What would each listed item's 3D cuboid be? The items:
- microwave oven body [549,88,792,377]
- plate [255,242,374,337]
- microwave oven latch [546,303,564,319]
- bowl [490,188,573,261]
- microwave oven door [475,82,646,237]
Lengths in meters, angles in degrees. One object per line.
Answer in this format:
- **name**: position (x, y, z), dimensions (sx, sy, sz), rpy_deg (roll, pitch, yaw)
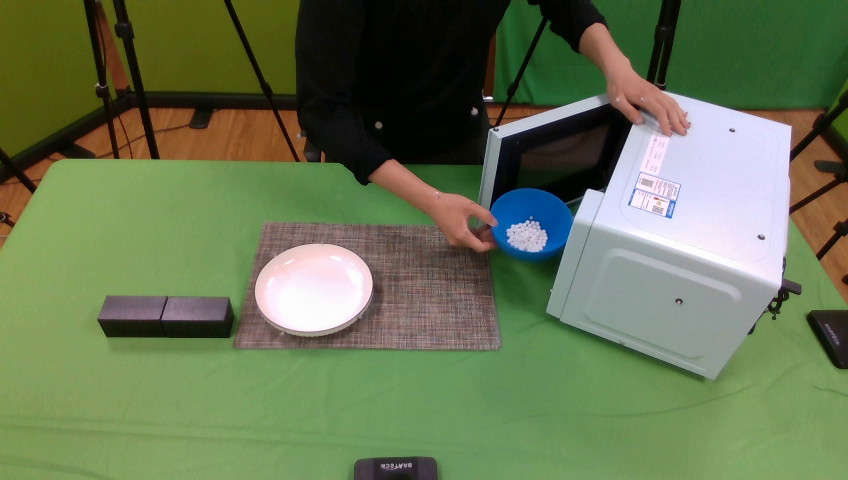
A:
- **microwave oven body**: position (0.456, -0.028, 1.088), dimensions (0.325, 0.261, 0.440), rpy_deg (20, 47, 16)
- **plate**: position (-0.192, 0.090, 1.080), dimensions (0.208, 0.039, 0.206), rpy_deg (2, 46, -2)
- **microwave oven latch**: position (0.242, 0.102, 1.081), dimensions (0.030, 0.029, 0.079), rpy_deg (22, 48, 17)
- **bowl**: position (0.190, -0.014, 1.101), dimensions (0.151, 0.077, 0.150), rpy_deg (1, 53, -1)
- **microwave oven door**: position (0.269, -0.159, 1.193), dimensions (0.356, 0.245, 0.039), rpy_deg (-21, 50, -22)
